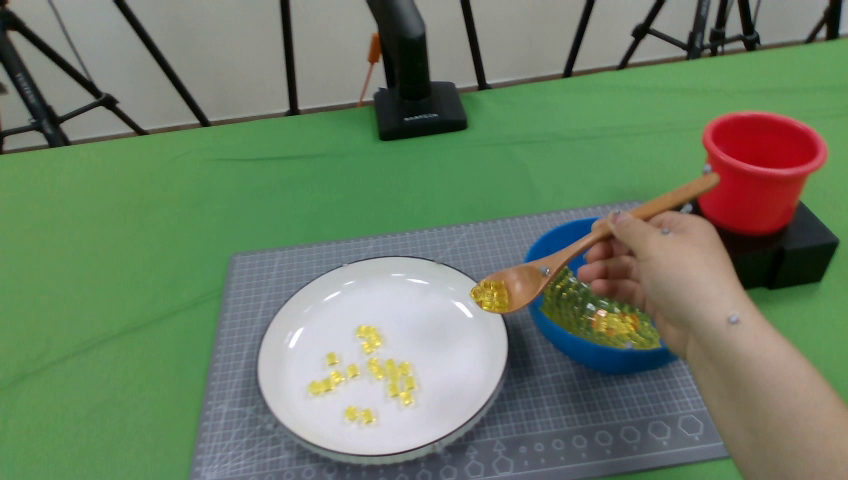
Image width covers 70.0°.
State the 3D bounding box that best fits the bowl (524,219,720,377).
[{"bbox_3d":[0.156,0.060,0.502,0.151,0.077,0.150,-3,41,3],"label":"bowl"}]

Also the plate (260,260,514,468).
[{"bbox_3d":[-0.030,0.099,0.509,0.207,0.039,0.205,-3,41,3],"label":"plate"}]

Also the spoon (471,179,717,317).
[{"bbox_3d":[0.123,0.005,0.440,0.194,0.022,0.041,-31,41,11],"label":"spoon"}]
